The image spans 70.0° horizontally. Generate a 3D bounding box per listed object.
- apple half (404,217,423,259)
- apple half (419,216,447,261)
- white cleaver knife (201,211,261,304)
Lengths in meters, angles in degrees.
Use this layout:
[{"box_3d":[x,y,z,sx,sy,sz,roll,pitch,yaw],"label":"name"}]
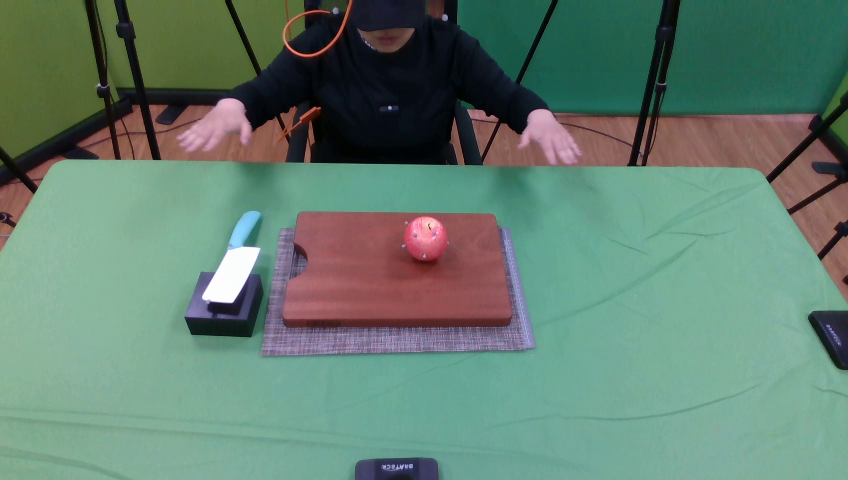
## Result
[{"box_3d":[-0.022,-0.002,1.121,0.033,0.081,0.081,3,46,-7],"label":"apple half"},{"box_3d":[0.016,0.000,1.125,0.053,0.075,0.080,4,43,-6],"label":"apple half"},{"box_3d":[-0.336,0.029,1.110,0.066,0.021,0.285,6,34,-3],"label":"white cleaver knife"}]
